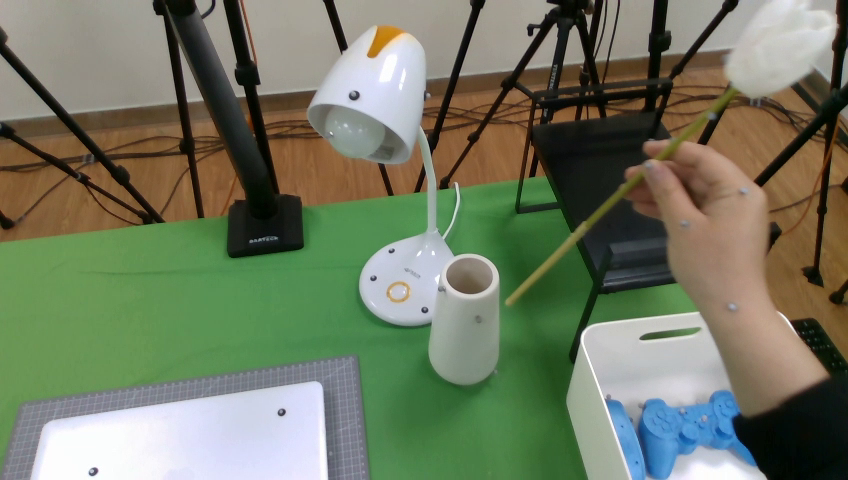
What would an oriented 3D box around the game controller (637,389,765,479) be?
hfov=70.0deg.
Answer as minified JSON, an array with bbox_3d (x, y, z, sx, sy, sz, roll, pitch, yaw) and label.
[{"bbox_3d":[0.347,0.241,0.766,0.155,0.052,0.096,-4,48,-6],"label":"game controller"}]

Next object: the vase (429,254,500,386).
[{"bbox_3d":[0.054,0.106,0.785,0.098,0.202,0.097,-1,48,1],"label":"vase"}]

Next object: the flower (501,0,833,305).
[{"bbox_3d":[0.146,-0.034,0.468,0.038,0.363,0.043,-2,58,-28],"label":"flower"}]

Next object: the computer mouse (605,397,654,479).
[{"bbox_3d":[0.238,0.247,0.761,0.063,0.041,0.116,-9,41,-5],"label":"computer mouse"}]

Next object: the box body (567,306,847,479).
[{"bbox_3d":[0.327,0.273,0.667,0.254,0.162,0.360,-6,49,-5],"label":"box body"}]

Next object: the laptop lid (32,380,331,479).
[{"bbox_3d":[-0.289,0.296,0.718,0.357,0.013,0.239,-6,52,-6],"label":"laptop lid"}]

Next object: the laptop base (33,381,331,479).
[{"bbox_3d":[-0.289,0.302,0.729,0.355,0.023,0.233,-7,53,-7],"label":"laptop base"}]

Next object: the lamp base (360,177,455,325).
[{"bbox_3d":[-0.014,0.004,0.883,0.160,0.182,0.178,19,49,15],"label":"lamp base"}]

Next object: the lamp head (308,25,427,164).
[{"bbox_3d":[-0.045,-0.153,0.623,0.112,0.113,0.122,16,69,14],"label":"lamp head"}]
